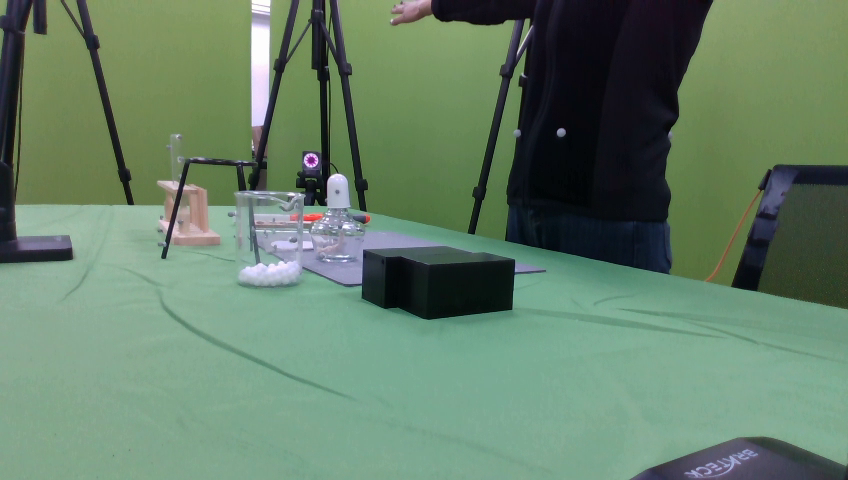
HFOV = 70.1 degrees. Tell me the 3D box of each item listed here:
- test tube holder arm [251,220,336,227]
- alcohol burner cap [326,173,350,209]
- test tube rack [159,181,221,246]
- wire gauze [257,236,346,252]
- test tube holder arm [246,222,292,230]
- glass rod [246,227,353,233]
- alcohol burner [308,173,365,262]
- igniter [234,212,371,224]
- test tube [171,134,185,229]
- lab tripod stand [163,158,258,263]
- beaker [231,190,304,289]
[{"bbox_3d":[-0.253,-0.031,1.156,0.179,0.015,0.013,-2,44,-30],"label":"test tube holder arm"},{"bbox_3d":[-0.116,-0.065,0.808,0.034,0.048,0.034,-3,10,1],"label":"alcohol burner cap"},{"bbox_3d":[-0.395,-0.050,1.010,0.067,0.085,0.241,-2,8,-28],"label":"test tube rack"},{"bbox_3d":[-0.189,0.005,0.931,0.122,0.011,0.124,1,7,-21],"label":"wire gauze"},{"bbox_3d":[-0.291,-0.026,1.130,0.088,0.015,0.010,-1,43,-30],"label":"test tube holder arm"},{"bbox_3d":[-0.224,-0.017,1.109,0.201,0.008,0.008,1,7,-27],"label":"glass rod"},{"bbox_3d":[-0.117,-0.030,0.813,0.078,0.119,0.078,4,9,0],"label":"alcohol burner"},{"bbox_3d":[-0.245,-0.045,1.247,0.278,0.025,0.057,-1,-2,-25],"label":"igniter"},{"bbox_3d":[-0.390,-0.092,0.963,0.017,0.150,0.017,-1,4,0],"label":"test tube"},{"bbox_3d":[-0.265,-0.041,0.802,0.148,0.131,0.148,4,7,0],"label":"lab tripod stand"},{"bbox_3d":[-0.166,-0.001,0.653,0.074,0.100,0.083,-4,10,-40],"label":"beaker"}]
